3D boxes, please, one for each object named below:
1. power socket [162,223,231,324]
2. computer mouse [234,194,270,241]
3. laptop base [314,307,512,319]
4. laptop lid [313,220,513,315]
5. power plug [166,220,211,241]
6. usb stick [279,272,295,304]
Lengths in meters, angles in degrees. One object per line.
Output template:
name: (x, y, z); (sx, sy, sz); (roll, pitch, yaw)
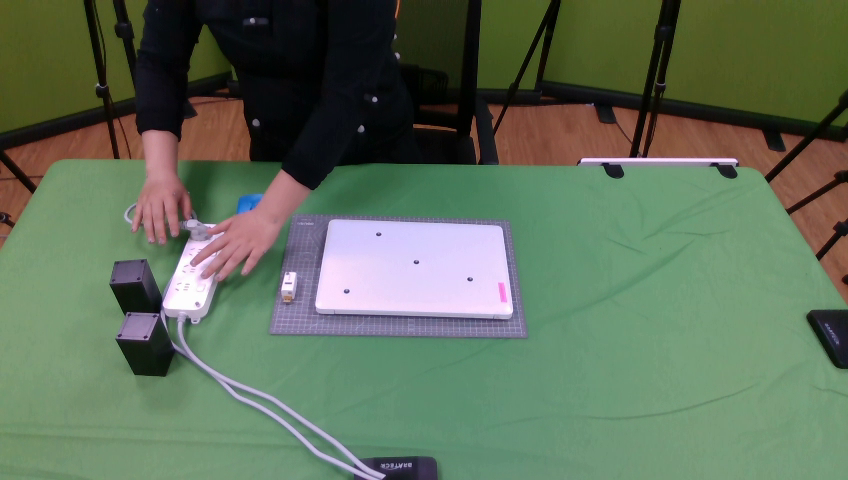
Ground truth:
power socket: (-0.412, 0.052, 1.106); (0.072, 0.033, 0.225); (4, 46, -2)
computer mouse: (-0.341, -0.049, 1.207); (0.063, 0.041, 0.116); (0, 51, -8)
laptop base: (-0.018, 0.055, 1.144); (0.354, 0.023, 0.234); (2, 42, -2)
laptop lid: (-0.017, 0.045, 1.138); (0.357, 0.013, 0.240); (3, 43, -1)
power plug: (-0.439, -0.017, 1.142); (0.072, 0.053, 0.035); (9, 45, 4)
usb stick: (-0.246, 0.088, 1.085); (0.021, 0.027, 0.059); (4, 47, -4)
